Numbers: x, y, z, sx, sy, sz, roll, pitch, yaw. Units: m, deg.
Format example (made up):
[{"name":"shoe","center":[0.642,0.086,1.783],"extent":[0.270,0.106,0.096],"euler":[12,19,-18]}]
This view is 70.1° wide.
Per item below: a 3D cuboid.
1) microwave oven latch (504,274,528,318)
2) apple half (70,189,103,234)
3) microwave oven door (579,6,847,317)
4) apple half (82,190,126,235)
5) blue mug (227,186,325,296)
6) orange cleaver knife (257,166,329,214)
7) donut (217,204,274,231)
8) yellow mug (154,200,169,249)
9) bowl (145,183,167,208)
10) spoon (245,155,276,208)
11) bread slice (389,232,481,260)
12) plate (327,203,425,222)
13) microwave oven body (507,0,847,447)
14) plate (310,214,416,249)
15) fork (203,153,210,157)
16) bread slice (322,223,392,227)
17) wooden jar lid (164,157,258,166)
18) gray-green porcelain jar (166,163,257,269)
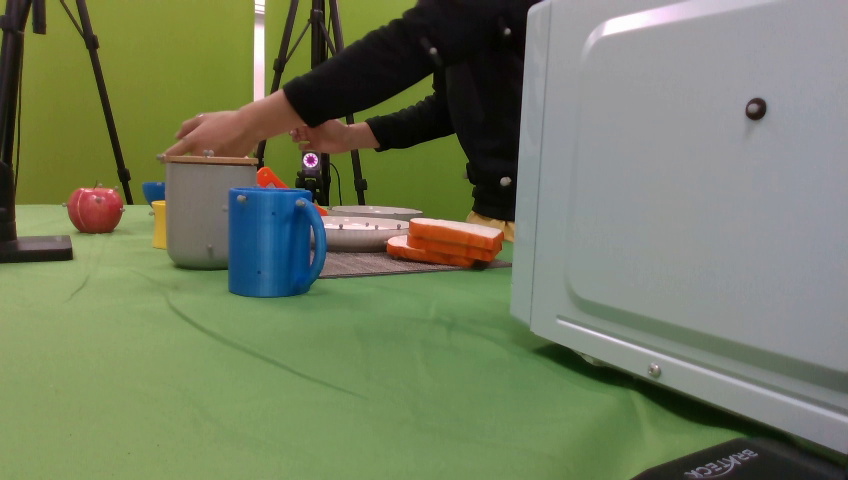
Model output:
[{"name":"microwave oven latch","center":[0.100,0.041,0.471],"extent":[0.079,0.029,0.030],"euler":[-1,8,-28]},{"name":"apple half","center":[-0.552,-0.048,1.009],"extent":[0.053,0.074,0.081],"euler":[-1,9,26]},{"name":"microwave oven door","center":[0.294,-0.067,0.570],"extent":[0.358,0.243,0.039],"euler":[-3,9,-31]},{"name":"apple half","center":[-0.516,-0.046,0.994],"extent":[0.032,0.081,0.081],"euler":[0,6,26]},{"name":"blue mug","center":[-0.146,0.000,0.618],"extent":[0.116,0.106,0.083],"euler":[7,9,32]},{"name":"orange cleaver knife","center":[-0.293,-0.086,1.330],"extent":[0.212,0.077,0.012],"euler":[34,-14,-39]},{"name":"donut","center":[-0.318,-0.038,1.080],"extent":[0.099,0.048,0.099],"euler":[2,7,0]},{"name":"yellow mug","center":[-0.338,-0.023,0.899],"extent":[0.130,0.064,0.100],"euler":[8,10,35]},{"name":"bowl","center":[-0.459,-0.069,1.175],"extent":[0.151,0.077,0.151],"euler":[2,7,0]},{"name":"spoon","center":[-0.421,-0.150,1.540],"extent":[0.042,0.193,0.021],"euler":[-5,-35,-37]},{"name":"bread slice","center":[0.016,0.007,0.866],"extent":[0.131,0.019,0.105],"euler":[6,8,8]},{"name":"plate","center":[-0.102,-0.053,1.299],"extent":[0.209,0.038,0.209],"euler":[2,8,0]},{"name":"microwave oven body","center":[0.331,-0.042,0.425],"extent":[0.444,0.260,0.324],"euler":[-2,8,-31]},{"name":"plate","center":[-0.116,-0.014,0.967],"extent":[0.208,0.039,0.207],"euler":[2,7,0]},{"name":"fork","center":[-0.480,-0.136,1.411],"extent":[0.028,0.018,0.207],"euler":[0,-34,-1]},{"name":"bread slice","center":[-0.116,-0.014,0.975],"extent":[0.135,0.018,0.106],"euler":[-6,11,-42]},{"name":"wooden jar lid","center":[-0.261,-0.093,0.746],"extent":[0.108,0.020,0.108],"euler":[1,9,0]},{"name":"gray-green porcelain jar","center":[-0.263,-0.032,0.754],"extent":[0.106,0.126,0.106],"euler":[2,7,0]}]
